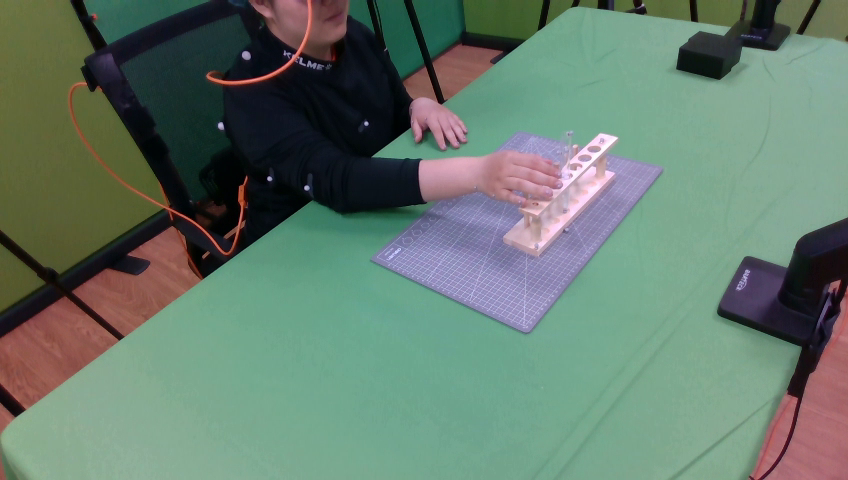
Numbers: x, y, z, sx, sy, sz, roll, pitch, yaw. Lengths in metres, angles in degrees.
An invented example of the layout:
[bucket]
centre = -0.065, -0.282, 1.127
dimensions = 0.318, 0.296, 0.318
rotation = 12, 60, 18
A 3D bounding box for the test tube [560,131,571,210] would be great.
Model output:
[test tube]
centre = 0.219, -0.103, 0.933
dimensions = 0.017, 0.151, 0.017
rotation = -6, 45, 7

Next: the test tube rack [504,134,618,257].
[test tube rack]
centre = 0.225, -0.083, 0.984
dimensions = 0.066, 0.085, 0.243
rotation = 25, 51, 34
